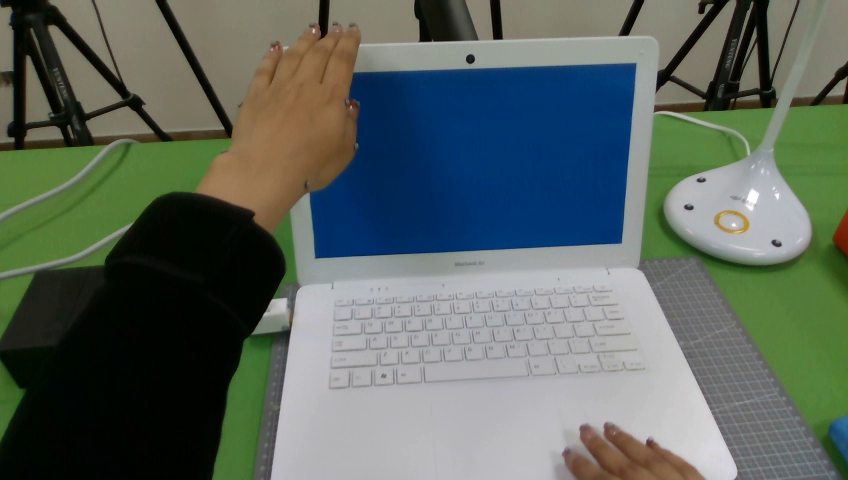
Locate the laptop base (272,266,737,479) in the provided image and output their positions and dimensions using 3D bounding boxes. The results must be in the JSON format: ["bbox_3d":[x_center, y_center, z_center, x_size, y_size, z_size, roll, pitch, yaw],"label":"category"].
[{"bbox_3d":[0.055,0.117,0.534,0.355,0.023,0.233,-3,43,-3],"label":"laptop base"}]

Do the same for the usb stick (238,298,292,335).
[{"bbox_3d":[-0.142,0.072,0.572,0.059,0.027,0.021,-5,39,-4],"label":"usb stick"}]

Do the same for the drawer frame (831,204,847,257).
[{"bbox_3d":[0.560,0.033,0.583,0.202,0.083,0.211,-5,39,-4],"label":"drawer frame"}]

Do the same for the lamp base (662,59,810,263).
[{"bbox_3d":[0.365,-0.095,0.663,0.159,0.182,0.178,19,41,22],"label":"lamp base"}]

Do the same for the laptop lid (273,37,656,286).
[{"bbox_3d":[0.043,-0.069,0.586,0.357,0.243,0.013,-4,19,-3],"label":"laptop lid"}]

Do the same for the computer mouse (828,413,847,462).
[{"bbox_3d":[0.361,0.174,0.450,0.063,0.041,0.116,-4,36,-1],"label":"computer mouse"}]

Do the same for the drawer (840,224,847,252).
[{"bbox_3d":[0.561,0.035,0.582,0.195,0.074,0.209,-5,39,-4],"label":"drawer"}]
